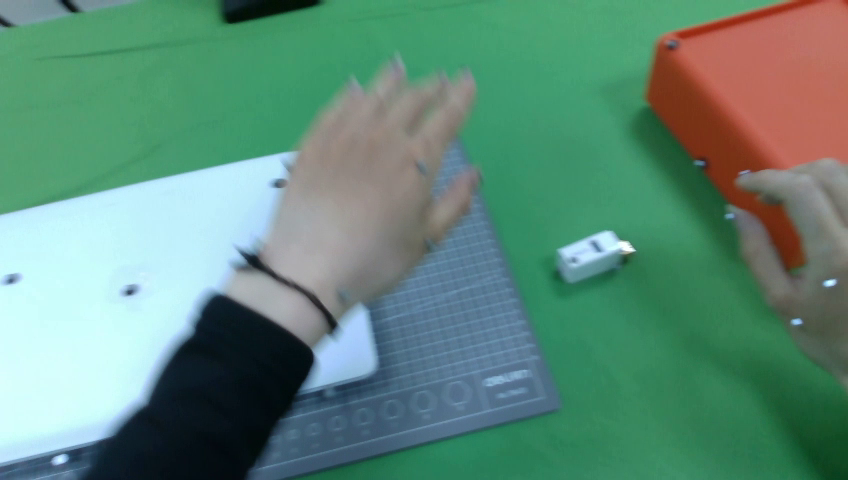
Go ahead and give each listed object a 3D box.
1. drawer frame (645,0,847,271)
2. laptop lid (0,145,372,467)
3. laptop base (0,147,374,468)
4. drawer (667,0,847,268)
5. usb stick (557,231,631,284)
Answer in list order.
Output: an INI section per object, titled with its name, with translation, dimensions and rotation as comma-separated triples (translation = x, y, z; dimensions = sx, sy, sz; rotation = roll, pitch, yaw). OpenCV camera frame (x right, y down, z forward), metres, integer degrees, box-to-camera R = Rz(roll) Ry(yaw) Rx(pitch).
[drawer frame]
translation = 0.328, -0.100, 0.498
dimensions = 0.202, 0.083, 0.211
rotation = -18, 53, -6
[laptop lid]
translation = -0.230, 0.042, 0.478
dimensions = 0.357, 0.013, 0.239
rotation = -12, 56, -3
[laptop base]
translation = -0.229, 0.047, 0.489
dimensions = 0.354, 0.023, 0.233
rotation = -13, 57, -4
[drawer]
translation = 0.329, -0.099, 0.497
dimensions = 0.195, 0.074, 0.209
rotation = -17, 53, -6
[usb stick]
translation = 0.135, 0.012, 0.472
dimensions = 0.059, 0.027, 0.021
rotation = -18, 52, -10
